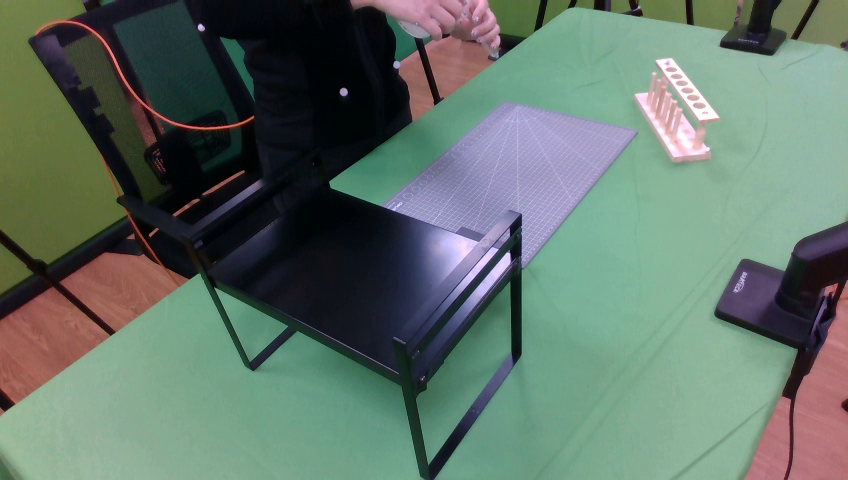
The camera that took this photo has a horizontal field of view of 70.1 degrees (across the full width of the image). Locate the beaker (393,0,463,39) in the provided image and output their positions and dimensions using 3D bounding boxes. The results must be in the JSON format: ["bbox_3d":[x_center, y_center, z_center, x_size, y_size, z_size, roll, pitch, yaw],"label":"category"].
[{"bbox_3d":[0.009,-0.348,0.879,0.073,0.084,0.100,25,68,33],"label":"beaker"}]

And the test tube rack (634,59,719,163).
[{"bbox_3d":[0.470,-0.250,1.148,0.067,0.085,0.241,-6,40,2],"label":"test tube rack"}]

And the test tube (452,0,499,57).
[{"bbox_3d":[0.086,-0.341,0.984,0.017,0.151,0.017,-10,69,29],"label":"test tube"}]
